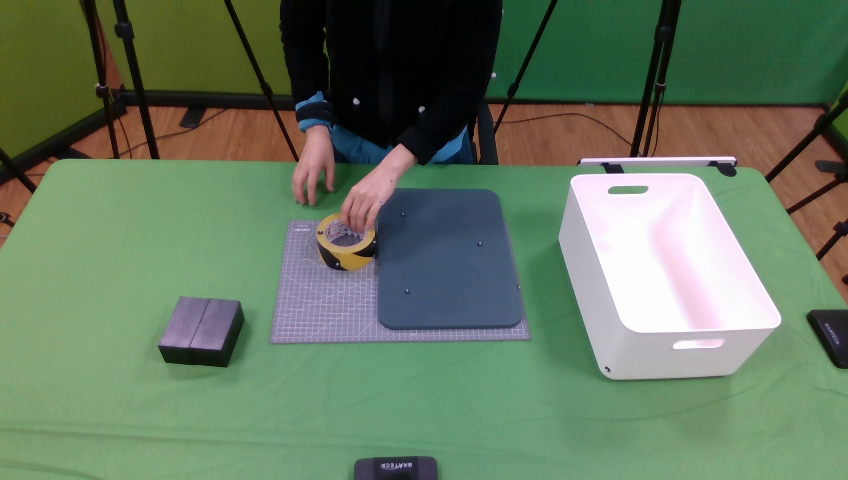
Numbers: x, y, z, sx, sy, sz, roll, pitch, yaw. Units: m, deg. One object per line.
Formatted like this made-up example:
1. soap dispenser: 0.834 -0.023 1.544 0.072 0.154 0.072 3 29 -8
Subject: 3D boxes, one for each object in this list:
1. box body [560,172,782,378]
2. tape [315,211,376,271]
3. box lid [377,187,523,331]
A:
1. box body: 0.405 0.057 1.074 0.254 0.161 0.361 -2 46 -5
2. tape: -0.150 0.000 1.159 0.117 0.053 0.116 3 47 -3
3. box lid: 0.040 0.024 1.181 0.263 0.015 0.369 -1 46 -4
